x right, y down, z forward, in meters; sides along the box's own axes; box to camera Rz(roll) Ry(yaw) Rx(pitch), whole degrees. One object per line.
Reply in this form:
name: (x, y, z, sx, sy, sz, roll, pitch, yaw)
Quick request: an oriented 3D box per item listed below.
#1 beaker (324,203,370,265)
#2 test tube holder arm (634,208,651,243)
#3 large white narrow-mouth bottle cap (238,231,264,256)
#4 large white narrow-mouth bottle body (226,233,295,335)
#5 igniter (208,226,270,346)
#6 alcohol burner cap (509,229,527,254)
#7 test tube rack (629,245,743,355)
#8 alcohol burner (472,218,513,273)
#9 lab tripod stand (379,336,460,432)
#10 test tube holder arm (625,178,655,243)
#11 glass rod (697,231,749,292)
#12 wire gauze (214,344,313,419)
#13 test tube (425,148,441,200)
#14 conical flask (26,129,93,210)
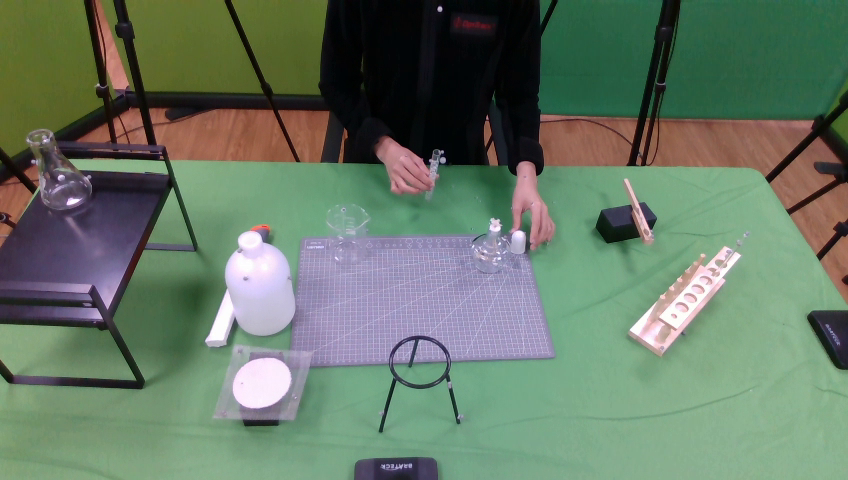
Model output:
beaker: (-0.142, -0.009, 1.137, 0.084, 0.101, 0.073, -2, 47, -7)
test tube holder arm: (0.428, -0.030, 1.189, 0.010, 0.015, 0.087, 1, 47, -2)
large white narrow-mouth bottle cap: (-0.266, 0.005, 0.932, 0.038, 0.024, 0.037, 2, 46, -2)
large white narrow-mouth bottle body: (-0.270, 0.065, 0.995, 0.102, 0.195, 0.101, 2, 46, -2)
igniter: (-0.331, 0.073, 1.099, 0.057, 0.025, 0.275, -4, 45, 11)
alcohol burner cap: (0.186, 0.000, 1.188, 0.034, 0.048, 0.033, 2, 42, -2)
test tube rack: (0.474, 0.095, 1.091, 0.242, 0.085, 0.066, -34, 56, -31)
alcohol burner: (0.128, 0.005, 1.132, 0.078, 0.120, 0.077, 0, 47, 0)
lab tripod stand: (-0.010, 0.214, 0.911, 0.148, 0.132, 0.147, 1, 45, 0)
test tube holder arm: (0.433, -0.062, 1.220, 0.013, 0.015, 0.177, 0, 47, -3)
glass rod: (0.515, 0.044, 1.051, 0.008, 0.200, 0.008, 1, 55, -1)
wire gauze: (-0.241, 0.213, 0.915, 0.121, 0.011, 0.124, 5, 46, 1)
test tube: (0.017, -0.126, 1.186, 0.017, 0.151, 0.017, 3, 58, -5)
conical flask: (-0.575, -0.113, 0.946, 0.075, 0.122, 0.075, 2, 46, -2)
